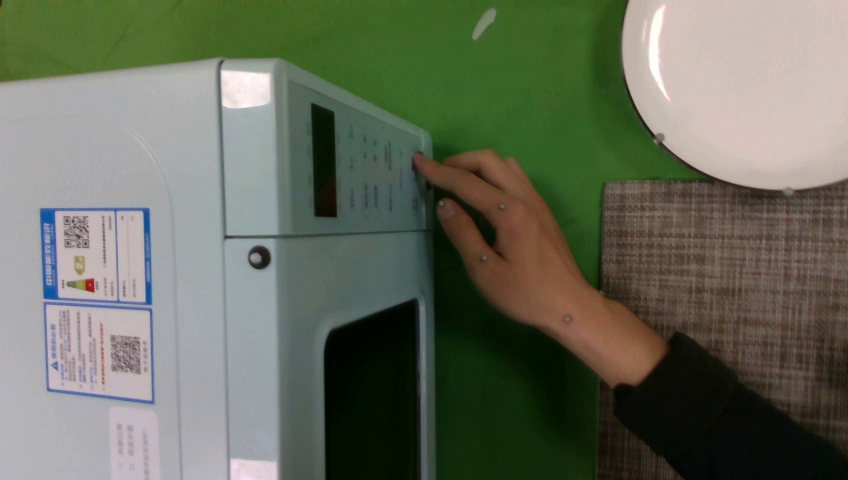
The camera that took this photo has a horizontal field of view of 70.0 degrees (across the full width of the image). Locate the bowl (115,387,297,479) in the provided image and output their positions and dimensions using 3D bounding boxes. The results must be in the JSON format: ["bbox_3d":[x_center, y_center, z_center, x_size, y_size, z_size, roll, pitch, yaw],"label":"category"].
[{"bbox_3d":[-0.152,0.175,0.470,0.150,0.077,0.152,5,104,23],"label":"bowl"}]

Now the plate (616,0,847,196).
[{"bbox_3d":[0.240,-0.133,0.414,0.207,0.039,0.207,1,93,17],"label":"plate"}]

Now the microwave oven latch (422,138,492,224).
[{"bbox_3d":[0.015,-0.047,0.469,0.079,0.029,0.030,45,105,10],"label":"microwave oven latch"}]

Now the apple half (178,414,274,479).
[{"bbox_3d":[-0.154,0.176,0.460,0.081,0.032,0.081,2,105,9],"label":"apple half"}]

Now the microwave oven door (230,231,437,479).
[{"bbox_3d":[-0.041,0.173,0.389,0.039,0.244,0.356,0,92,18],"label":"microwave oven door"}]

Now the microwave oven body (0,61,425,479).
[{"bbox_3d":[-0.179,0.130,0.435,0.325,0.261,0.441,1,93,17],"label":"microwave oven body"}]
